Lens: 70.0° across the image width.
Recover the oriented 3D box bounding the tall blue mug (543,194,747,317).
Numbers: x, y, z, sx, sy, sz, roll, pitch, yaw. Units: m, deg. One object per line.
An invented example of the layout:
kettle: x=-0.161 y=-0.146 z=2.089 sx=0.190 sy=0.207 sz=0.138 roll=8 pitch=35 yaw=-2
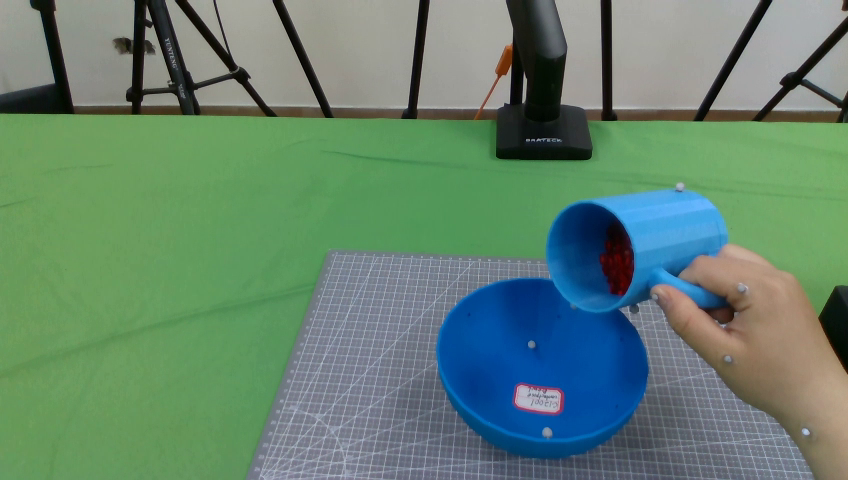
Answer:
tall blue mug: x=0.159 y=0.008 z=0.419 sx=0.108 sy=0.078 sz=0.106 roll=-8 pitch=2 yaw=-36

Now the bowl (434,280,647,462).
bowl: x=0.083 y=0.109 z=0.458 sx=0.151 sy=0.077 sz=0.150 roll=-1 pitch=40 yaw=1
